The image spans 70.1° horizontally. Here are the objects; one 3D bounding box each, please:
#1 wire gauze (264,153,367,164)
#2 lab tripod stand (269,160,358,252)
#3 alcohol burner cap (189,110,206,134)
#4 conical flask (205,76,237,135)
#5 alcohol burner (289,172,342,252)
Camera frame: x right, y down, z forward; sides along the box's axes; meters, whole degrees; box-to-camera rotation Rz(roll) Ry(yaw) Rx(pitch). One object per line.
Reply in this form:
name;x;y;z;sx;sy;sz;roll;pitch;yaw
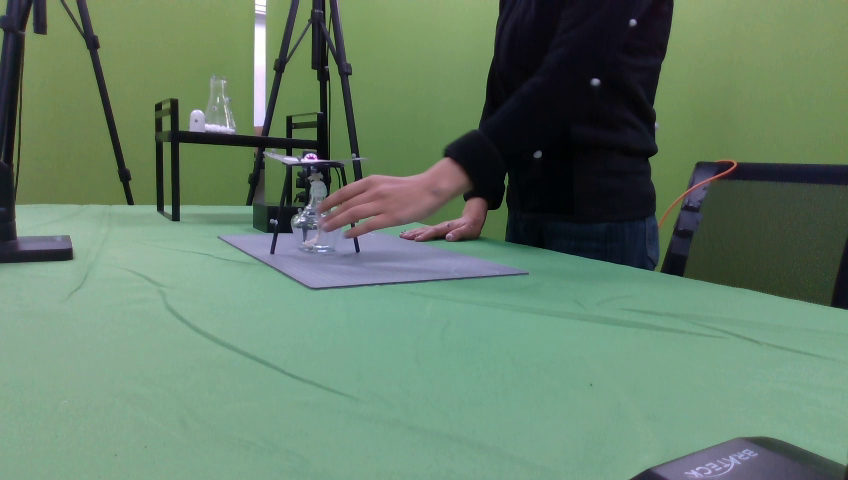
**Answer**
wire gauze;-0.160;-0.118;0.888;0.122;0.011;0.124;-3;10;-32
lab tripod stand;-0.167;-0.051;0.892;0.148;0.131;0.148;4;9;0
alcohol burner cap;-0.464;-0.242;1.240;0.034;0.048;0.034;5;7;0
conical flask;-0.443;-0.290;1.309;0.075;0.122;0.075;3;7;0
alcohol burner;-0.160;-0.042;0.899;0.078;0.119;0.078;4;9;0
